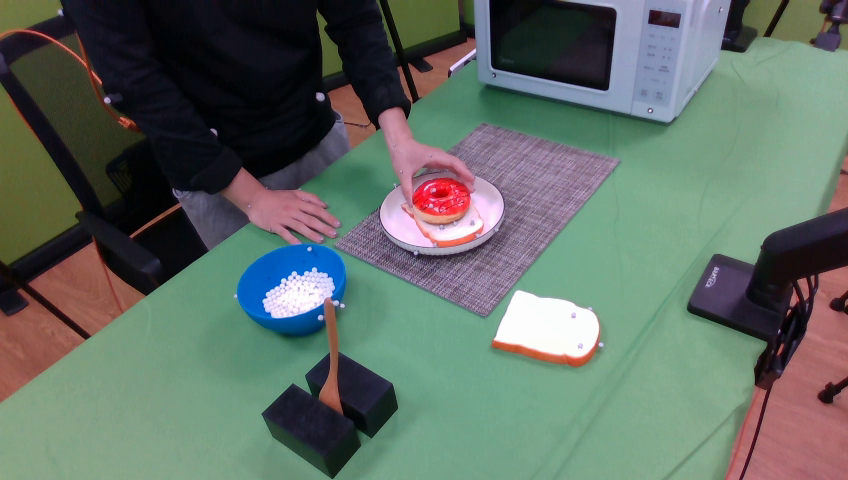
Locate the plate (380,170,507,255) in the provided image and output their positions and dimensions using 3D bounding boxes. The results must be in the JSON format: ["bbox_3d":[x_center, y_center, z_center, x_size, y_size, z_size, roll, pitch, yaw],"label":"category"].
[{"bbox_3d":[0.033,-0.042,0.995,0.207,0.039,0.206,-4,41,4],"label":"plate"}]

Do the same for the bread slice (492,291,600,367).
[{"bbox_3d":[0.169,0.118,0.811,0.131,0.019,0.105,11,44,22],"label":"bread slice"}]

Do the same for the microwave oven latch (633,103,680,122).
[{"bbox_3d":[0.444,-0.249,1.157,0.078,0.029,0.030,21,49,30],"label":"microwave oven latch"}]

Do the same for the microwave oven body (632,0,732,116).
[{"bbox_3d":[0.377,-0.462,1.267,0.438,0.261,0.327,21,48,30],"label":"microwave oven body"}]

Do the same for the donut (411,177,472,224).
[{"bbox_3d":[0.029,-0.064,0.977,0.099,0.048,0.098,-4,40,4],"label":"donut"}]

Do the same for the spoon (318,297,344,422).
[{"bbox_3d":[-0.107,0.139,0.687,0.041,0.194,0.022,27,37,31],"label":"spoon"}]

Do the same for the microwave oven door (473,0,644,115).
[{"bbox_3d":[0.257,-0.396,1.199,0.353,0.245,0.039,21,48,29],"label":"microwave oven door"}]

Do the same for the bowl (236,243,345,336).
[{"bbox_3d":[-0.180,0.082,0.855,0.151,0.077,0.150,-4,41,4],"label":"bowl"}]

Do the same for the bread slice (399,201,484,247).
[{"bbox_3d":[0.037,-0.038,0.990,0.107,0.018,0.133,-23,43,-17],"label":"bread slice"}]
